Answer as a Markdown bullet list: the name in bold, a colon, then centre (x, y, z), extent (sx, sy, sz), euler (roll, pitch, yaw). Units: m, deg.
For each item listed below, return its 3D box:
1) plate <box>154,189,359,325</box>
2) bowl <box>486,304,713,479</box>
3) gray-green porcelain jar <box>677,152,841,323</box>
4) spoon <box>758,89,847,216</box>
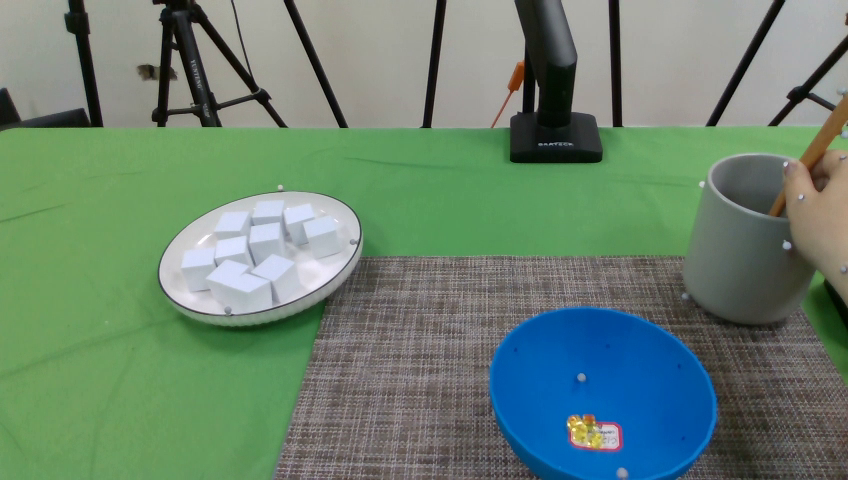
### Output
- **plate**: centre (-0.170, 0.018, 0.636), extent (0.209, 0.038, 0.207), euler (-3, 38, 3)
- **bowl**: centre (0.119, 0.126, 0.437), extent (0.151, 0.077, 0.150), euler (-2, 38, 2)
- **gray-green porcelain jar**: centre (0.289, 0.002, 0.540), extent (0.106, 0.127, 0.105), euler (-3, 38, 2)
- **spoon**: centre (0.287, -0.031, 0.493), extent (0.022, 0.195, 0.041), euler (1, 37, -19)
